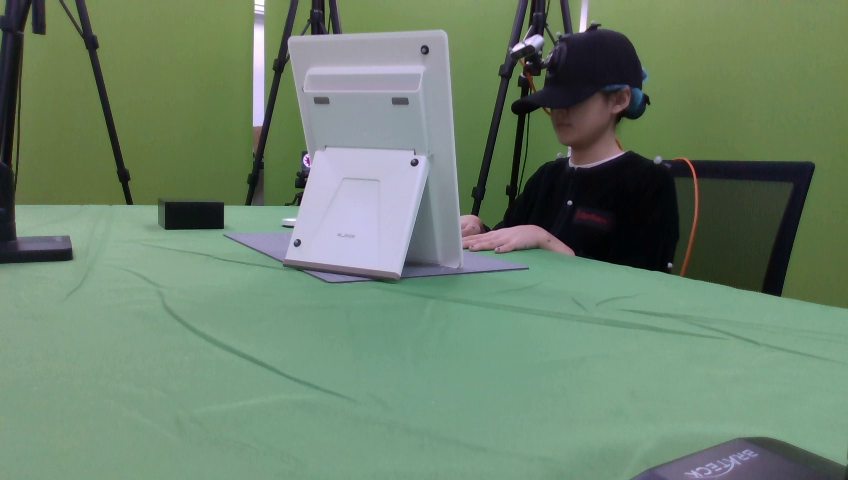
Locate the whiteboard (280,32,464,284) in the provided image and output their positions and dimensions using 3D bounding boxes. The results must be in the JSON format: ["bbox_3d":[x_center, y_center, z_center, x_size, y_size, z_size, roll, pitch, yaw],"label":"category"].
[{"bbox_3d":[-0.086,-0.079,0.728,0.216,0.305,0.144,7,28,24],"label":"whiteboard"}]

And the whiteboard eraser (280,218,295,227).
[{"bbox_3d":[-0.242,-0.036,1.228,0.102,0.019,0.041,0,7,-33],"label":"whiteboard eraser"}]
